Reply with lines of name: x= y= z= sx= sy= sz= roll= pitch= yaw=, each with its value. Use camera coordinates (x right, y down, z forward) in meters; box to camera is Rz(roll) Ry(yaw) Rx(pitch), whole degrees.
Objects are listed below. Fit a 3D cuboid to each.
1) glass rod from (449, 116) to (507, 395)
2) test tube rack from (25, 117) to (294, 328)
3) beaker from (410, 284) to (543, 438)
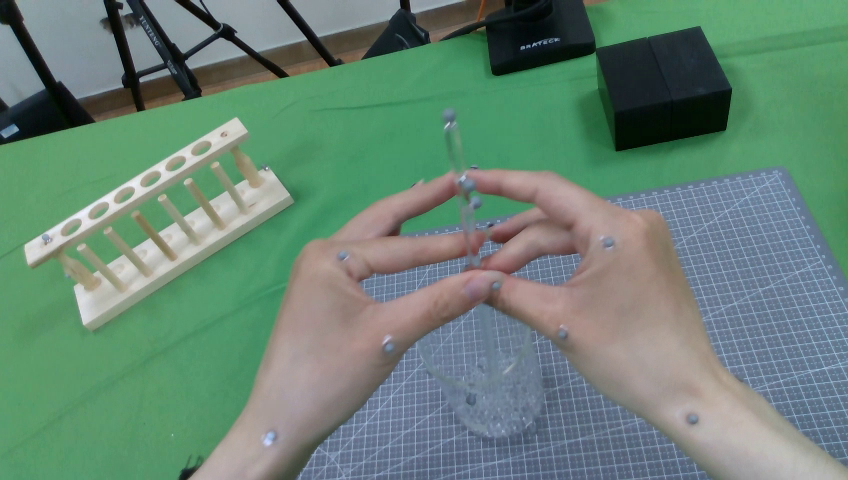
glass rod: x=0.033 y=0.023 z=0.327 sx=0.008 sy=0.202 sz=0.008 roll=-8 pitch=39 yaw=7
test tube rack: x=-0.267 y=-0.020 z=0.628 sx=0.242 sy=0.086 sz=0.066 roll=-34 pitch=50 yaw=-10
beaker: x=0.041 y=0.089 z=0.423 sx=0.083 sy=0.101 sz=0.073 roll=2 pitch=53 yaw=21
